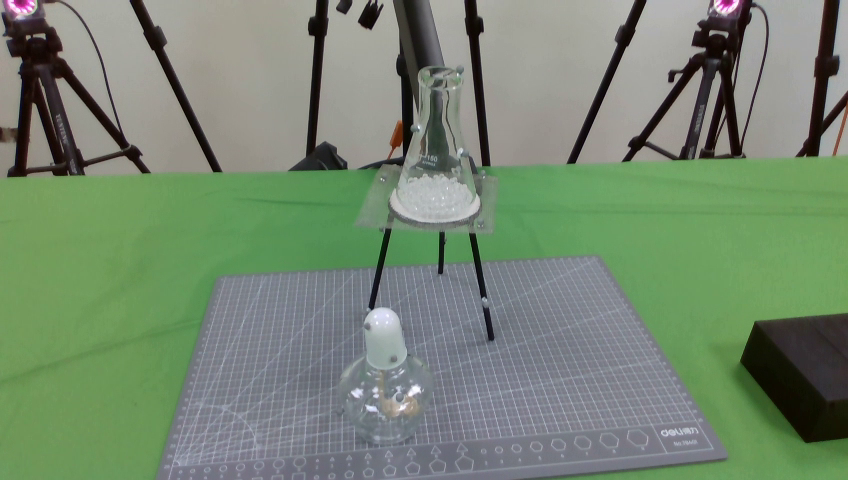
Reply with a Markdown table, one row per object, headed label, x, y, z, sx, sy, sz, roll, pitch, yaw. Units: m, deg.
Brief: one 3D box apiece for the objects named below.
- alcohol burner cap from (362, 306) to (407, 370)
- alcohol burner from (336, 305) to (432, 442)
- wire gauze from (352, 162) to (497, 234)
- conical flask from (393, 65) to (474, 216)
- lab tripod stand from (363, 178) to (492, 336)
| label | x | y | z | sx | sy | sz | roll | pitch | yaw |
| --- | --- | --- | --- | --- | --- | --- | --- | --- | --- |
| alcohol burner cap | -0.031 | 0.072 | 0.463 | 0.034 | 0.048 | 0.033 | -4 | 36 | 3 |
| alcohol burner | -0.032 | 0.102 | 0.484 | 0.078 | 0.120 | 0.077 | 0 | 31 | 0 |
| wire gauze | 0.006 | -0.039 | 0.567 | 0.121 | 0.011 | 0.124 | 5 | 35 | 6 |
| conical flask | 0.010 | -0.088 | 0.532 | 0.075 | 0.123 | 0.074 | 2 | 33 | -1 |
| lab tripod stand | 0.011 | 0.017 | 0.602 | 0.148 | 0.132 | 0.147 | 3 | 32 | -1 |
